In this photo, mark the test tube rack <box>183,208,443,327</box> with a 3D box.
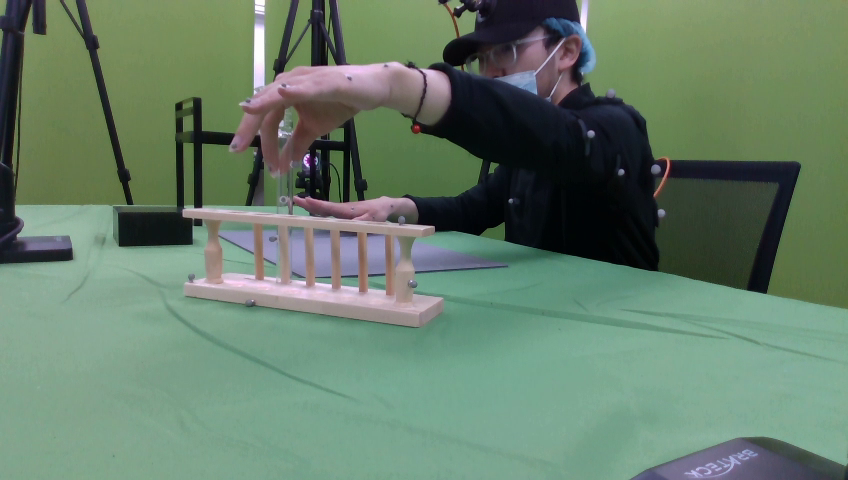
[{"bbox_3d":[-0.106,0.019,0.570,0.241,0.085,0.067,5,8,19],"label":"test tube rack"}]

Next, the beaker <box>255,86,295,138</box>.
[{"bbox_3d":[-0.309,-0.263,1.251,0.084,0.100,0.073,-4,9,-38],"label":"beaker"}]

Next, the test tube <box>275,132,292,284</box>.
[{"bbox_3d":[-0.139,-0.030,0.596,0.017,0.150,0.017,2,7,0],"label":"test tube"}]
